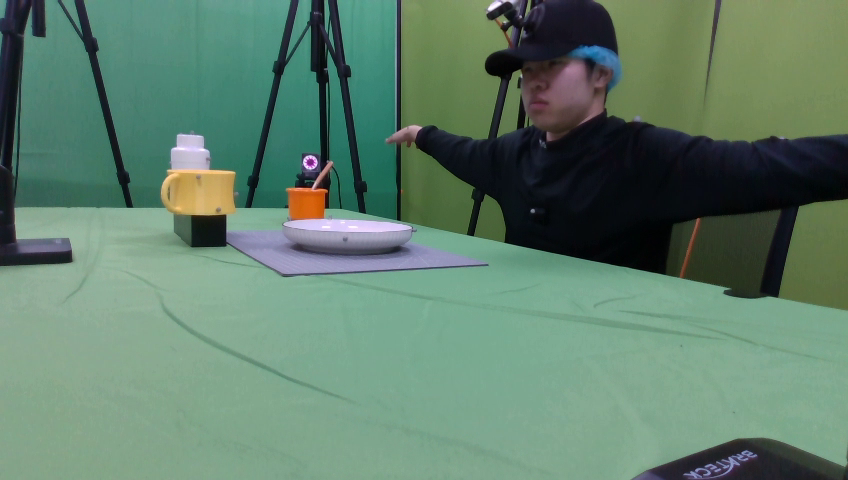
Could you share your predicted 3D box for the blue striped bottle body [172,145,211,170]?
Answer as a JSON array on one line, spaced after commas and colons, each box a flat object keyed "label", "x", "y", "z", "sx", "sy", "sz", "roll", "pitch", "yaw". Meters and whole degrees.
[{"label": "blue striped bottle body", "x": -0.407, "y": -0.120, "z": 1.059, "sx": 0.063, "sy": 0.120, "sz": 0.063, "roll": 3, "pitch": 8, "yaw": 0}]

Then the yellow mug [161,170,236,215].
[{"label": "yellow mug", "x": -0.354, "y": -0.074, "z": 0.935, "sx": 0.099, "sy": 0.064, "sz": 0.131, "roll": 5, "pitch": 9, "yaw": 21}]

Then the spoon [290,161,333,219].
[{"label": "spoon", "x": -0.251, "y": -0.117, "z": 1.381, "sx": 0.041, "sy": 0.193, "sz": 0.022, "roll": 4, "pitch": -37, "yaw": 26}]

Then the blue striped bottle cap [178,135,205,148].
[{"label": "blue striped bottle cap", "x": -0.405, "y": -0.171, "z": 1.053, "sx": 0.044, "sy": 0.020, "sz": 0.044, "roll": 3, "pitch": 10, "yaw": 0}]

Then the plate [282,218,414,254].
[{"label": "plate", "x": -0.121, "y": -0.007, "z": 0.971, "sx": 0.208, "sy": 0.039, "sz": 0.207, "roll": 2, "pitch": 7, "yaw": 0}]
